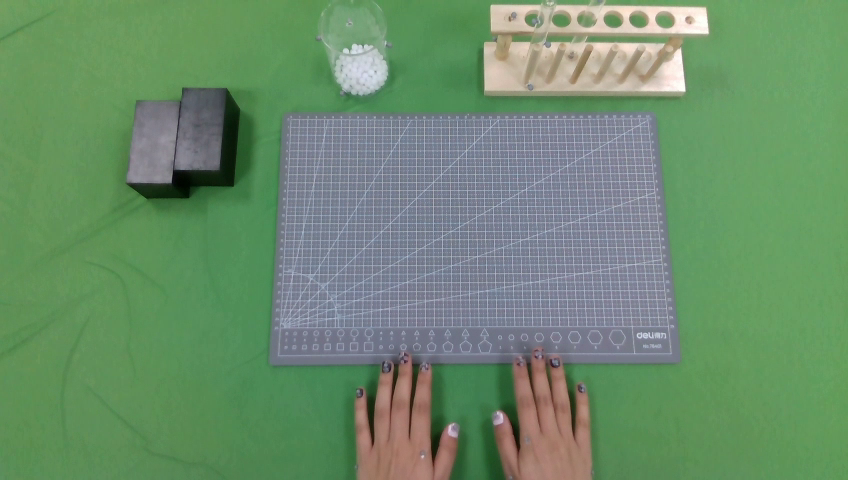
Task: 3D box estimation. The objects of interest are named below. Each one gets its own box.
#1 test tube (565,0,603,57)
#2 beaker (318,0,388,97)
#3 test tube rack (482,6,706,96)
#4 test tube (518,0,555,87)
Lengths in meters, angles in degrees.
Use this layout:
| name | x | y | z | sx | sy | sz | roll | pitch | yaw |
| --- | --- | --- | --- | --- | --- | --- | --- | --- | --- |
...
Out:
| name | x | y | z | sx | sy | sz | roll | pitch | yaw |
| --- | --- | --- | --- | --- | --- | --- | --- | --- | --- |
| test tube | 0.182 | -0.250 | 0.669 | 0.017 | 0.151 | 0.017 | 1 | 73 | -3 |
| beaker | -0.079 | -0.221 | 0.703 | 0.074 | 0.101 | 0.083 | -4 | 75 | -2 |
| test tube rack | 0.193 | -0.220 | 0.712 | 0.242 | 0.085 | 0.066 | 0 | 76 | 0 |
| test tube | 0.122 | -0.213 | 0.664 | 0.017 | 0.151 | 0.017 | 0 | 73 | 0 |
